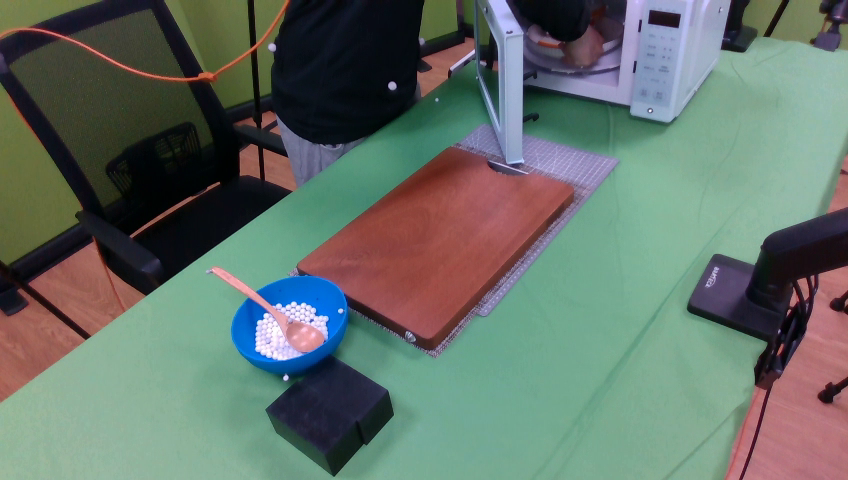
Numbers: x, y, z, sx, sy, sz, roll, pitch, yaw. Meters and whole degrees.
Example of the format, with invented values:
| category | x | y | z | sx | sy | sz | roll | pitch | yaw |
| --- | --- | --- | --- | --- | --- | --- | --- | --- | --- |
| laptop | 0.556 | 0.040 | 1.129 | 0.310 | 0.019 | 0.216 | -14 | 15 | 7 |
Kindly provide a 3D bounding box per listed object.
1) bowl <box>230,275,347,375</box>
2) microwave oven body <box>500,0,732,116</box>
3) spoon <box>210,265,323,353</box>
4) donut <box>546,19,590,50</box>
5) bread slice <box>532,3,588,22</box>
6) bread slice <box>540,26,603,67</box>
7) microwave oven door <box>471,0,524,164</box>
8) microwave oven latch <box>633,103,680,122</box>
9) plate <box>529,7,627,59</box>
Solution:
| category | x | y | z | sx | sy | sz | roll | pitch | yaw |
| --- | --- | --- | --- | --- | --- | --- | --- | --- | --- |
| bowl | -0.171 | 0.125 | 0.802 | 0.151 | 0.077 | 0.150 | -4 | 40 | 4 |
| microwave oven body | 0.377 | -0.463 | 1.267 | 0.438 | 0.261 | 0.327 | 21 | 49 | 30 |
| spoon | -0.213 | 0.087 | 0.806 | 0.193 | 0.021 | 0.042 | 37 | 56 | 11 |
| donut | 0.308 | -0.437 | 1.294 | 0.099 | 0.048 | 0.098 | -23 | 33 | 17 |
| bread slice | 0.290 | -0.481 | 1.275 | 0.106 | 0.018 | 0.134 | 3 | 29 | 17 |
| bread slice | 0.331 | -0.430 | 1.338 | 0.104 | 0.019 | 0.131 | 16 | 59 | 40 |
| microwave oven door | 0.136 | -0.342 | 1.153 | 0.039 | 0.245 | 0.353 | -8 | 40 | -1 |
| microwave oven latch | 0.443 | -0.249 | 1.157 | 0.078 | 0.029 | 0.030 | 21 | 49 | 30 |
| plate | 0.337 | -0.449 | 1.327 | 0.207 | 0.039 | 0.206 | -7 | 43 | 7 |
